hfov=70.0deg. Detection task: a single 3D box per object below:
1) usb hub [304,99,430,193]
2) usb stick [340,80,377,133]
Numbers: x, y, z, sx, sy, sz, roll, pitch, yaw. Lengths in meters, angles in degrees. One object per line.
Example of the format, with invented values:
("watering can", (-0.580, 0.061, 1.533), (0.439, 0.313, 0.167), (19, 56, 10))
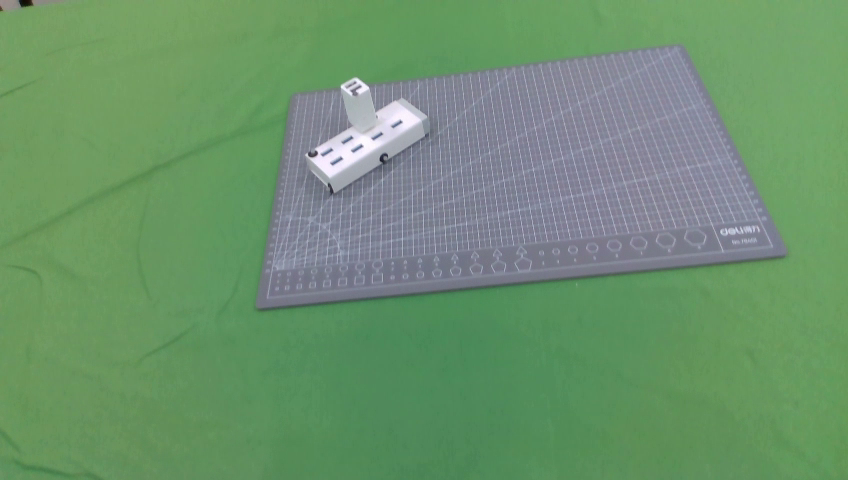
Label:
("usb hub", (-0.058, -0.099, 0.625), (0.125, 0.025, 0.049), (-34, 54, -18))
("usb stick", (-0.064, -0.129, 0.612), (0.021, 0.060, 0.027), (-37, 53, -19))
